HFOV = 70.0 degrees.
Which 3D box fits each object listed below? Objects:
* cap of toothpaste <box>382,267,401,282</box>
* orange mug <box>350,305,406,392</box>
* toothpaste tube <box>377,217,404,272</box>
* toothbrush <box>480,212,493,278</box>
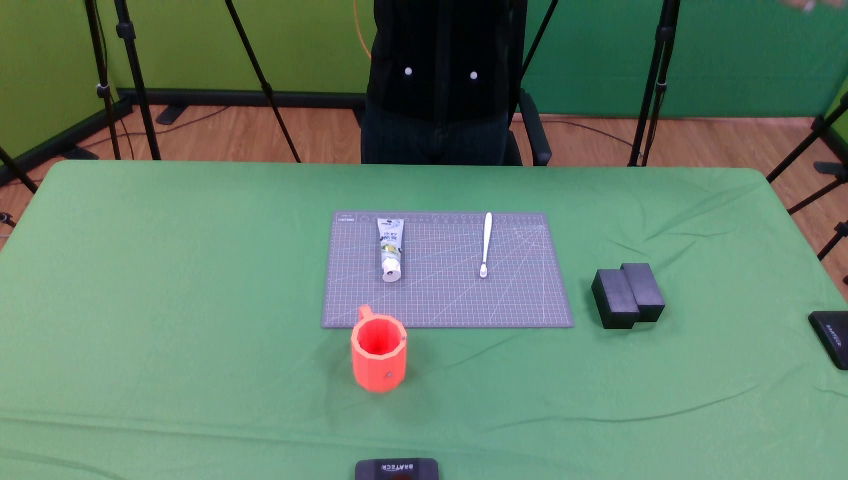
[{"bbox_3d":[-0.060,0.063,1.119,0.037,0.037,0.011,-9,50,-12],"label":"cap of toothpaste"},{"bbox_3d":[-0.080,0.168,0.978,0.083,0.101,0.125,-16,54,-18],"label":"orange mug"},{"bbox_3d":[-0.063,0.008,1.179,0.055,0.034,0.164,5,42,-9],"label":"toothpaste tube"},{"bbox_3d":[0.124,0.004,1.202,0.014,0.017,0.181,-2,43,14],"label":"toothbrush"}]
